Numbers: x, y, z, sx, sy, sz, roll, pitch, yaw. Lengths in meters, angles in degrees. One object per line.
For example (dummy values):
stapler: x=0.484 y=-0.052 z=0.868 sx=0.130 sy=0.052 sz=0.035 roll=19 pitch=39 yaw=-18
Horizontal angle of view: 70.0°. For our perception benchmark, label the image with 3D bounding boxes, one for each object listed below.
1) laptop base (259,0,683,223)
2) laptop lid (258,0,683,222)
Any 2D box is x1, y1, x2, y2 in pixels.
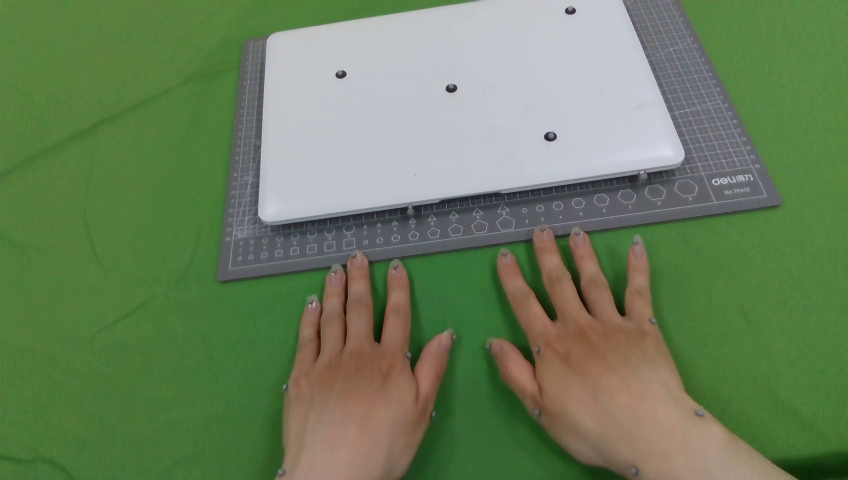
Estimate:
laptop base: x=0.027 y=-0.132 z=0.558 sx=0.354 sy=0.023 sz=0.233 roll=-8 pitch=61 yaw=2
laptop lid: x=0.026 y=-0.136 z=0.547 sx=0.357 sy=0.013 sz=0.239 roll=-6 pitch=59 yaw=3
